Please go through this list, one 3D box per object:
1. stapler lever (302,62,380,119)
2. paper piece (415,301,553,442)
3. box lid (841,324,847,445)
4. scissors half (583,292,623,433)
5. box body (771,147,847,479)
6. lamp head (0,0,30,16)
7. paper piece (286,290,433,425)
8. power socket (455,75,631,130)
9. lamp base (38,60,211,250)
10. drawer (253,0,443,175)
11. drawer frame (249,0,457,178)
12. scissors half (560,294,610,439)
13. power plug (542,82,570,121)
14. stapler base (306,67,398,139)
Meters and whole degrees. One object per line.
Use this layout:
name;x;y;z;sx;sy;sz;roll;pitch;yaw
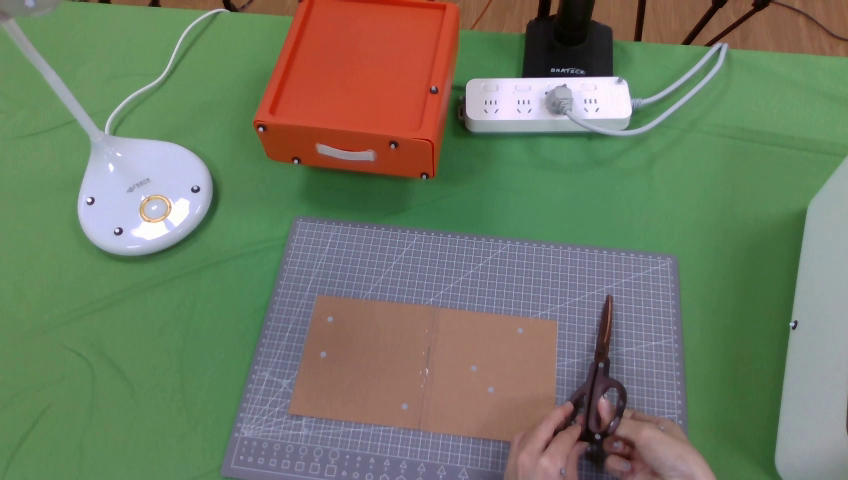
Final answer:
stapler lever;-0.099;-0.177;0.706;0.117;0.040;0.027;35;84;23
paper piece;0.066;0.133;0.631;0.135;0.004;0.134;6;63;6
box lid;0.490;0.051;0.492;0.262;0.015;0.369;19;64;11
scissors half;0.182;0.115;0.609;0.013;0.040;0.174;39;40;-16
box body;0.493;0.085;0.558;0.253;0.161;0.362;18;64;11
lamp head;-0.316;-0.231;0.414;0.124;0.112;0.112;45;67;-18
paper piece;-0.066;0.120;0.643;0.136;0.009;0.137;5;63;8
power socket;0.154;-0.179;0.784;0.227;0.033;0.071;1;63;2
lamp base;-0.354;-0.102;0.675;0.178;0.182;0.160;37;68;22
drawer;-0.073;-0.188;0.719;0.194;0.074;0.210;7;61;6
drawer frame;-0.074;-0.191;0.720;0.201;0.083;0.212;7;61;6
scissors half;0.171;0.124;0.624;0.013;0.040;0.174;35;58;-12
power plug;0.162;-0.164;0.750;0.035;0.053;0.072;11;63;7
stapler base;-0.091;-0.170;0.730;0.129;0.024;0.041;35;84;21
